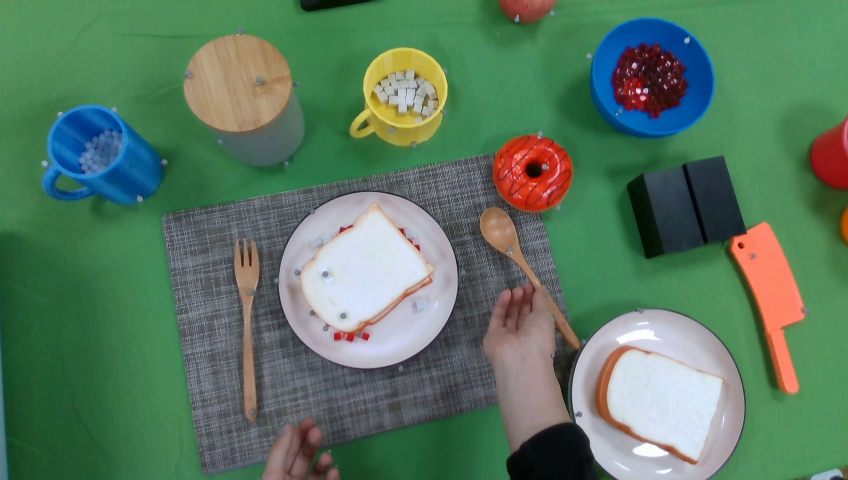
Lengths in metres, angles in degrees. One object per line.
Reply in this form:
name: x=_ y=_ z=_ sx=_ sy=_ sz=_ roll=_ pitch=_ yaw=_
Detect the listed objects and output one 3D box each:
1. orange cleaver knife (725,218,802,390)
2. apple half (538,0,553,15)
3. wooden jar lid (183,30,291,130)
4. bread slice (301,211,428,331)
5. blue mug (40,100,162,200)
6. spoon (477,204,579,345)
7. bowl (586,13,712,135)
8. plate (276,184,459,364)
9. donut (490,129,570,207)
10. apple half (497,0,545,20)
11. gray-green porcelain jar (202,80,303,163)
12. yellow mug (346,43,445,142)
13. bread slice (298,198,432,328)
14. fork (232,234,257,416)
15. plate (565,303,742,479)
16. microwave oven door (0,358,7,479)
orange cleaver knife: x=0.433 y=0.076 z=0.751 sx=0.077 sy=0.012 sz=0.210 roll=-10 pitch=80 yaw=-13
apple half: x=0.138 y=-0.332 z=0.771 sx=0.080 sy=0.075 sz=0.053 roll=43 pitch=75 yaw=8
wooden jar lid: x=-0.192 y=-0.163 z=0.628 sx=0.108 sy=0.021 sz=0.108 roll=1 pitch=78 yaw=-3
bread slice: x=-0.075 y=0.042 z=0.710 sx=0.131 sy=0.019 sz=0.104 roll=-39 pitch=86 yaw=-14
blue mug: x=-0.366 y=-0.088 z=0.675 sx=0.116 sy=0.106 sz=0.082 roll=-37 pitch=84 yaw=-9
spoon: x=0.122 y=0.040 z=0.707 sx=0.041 sy=0.022 sz=0.192 roll=-27 pitch=73 yaw=-17
bowl: x=0.267 y=-0.193 z=0.754 sx=0.151 sy=0.077 sz=0.151 roll=1 pitch=81 yaw=-4
plate: x=-0.064 y=0.039 z=0.707 sx=0.208 sy=0.039 sz=0.207 roll=1 pitch=80 yaw=-4
donut: x=0.129 y=-0.088 z=0.740 sx=0.099 sy=0.048 sz=0.098 roll=1 pitch=81 yaw=-4
apple half: x=0.112 y=-0.304 z=0.763 sx=0.081 sy=0.081 sz=0.033 roll=44 pitch=75 yaw=4
gray-green porcelain jar: x=-0.196 y=-0.151 z=0.689 sx=0.106 sy=0.127 sz=0.105 roll=1 pitch=80 yaw=-4
yellow mug: x=-0.039 y=-0.169 z=0.734 sx=0.131 sy=0.064 sz=0.099 roll=-35 pitch=84 yaw=-8
bread slice: x=-0.072 y=0.034 z=0.682 sx=0.134 sy=0.018 sz=0.106 roll=-42 pitch=83 yaw=-12
fork: x=-0.204 y=0.095 z=0.695 sx=0.028 sy=0.018 sz=0.206 roll=-3 pitch=79 yaw=-12
plate: x=0.264 y=0.179 z=0.711 sx=0.209 sy=0.038 sz=0.208 roll=1 pitch=80 yaw=-4
microwave oven door: x=-0.457 y=0.201 z=0.532 sx=0.039 sy=0.244 sz=0.354 roll=-9 pitch=81 yaw=-5
